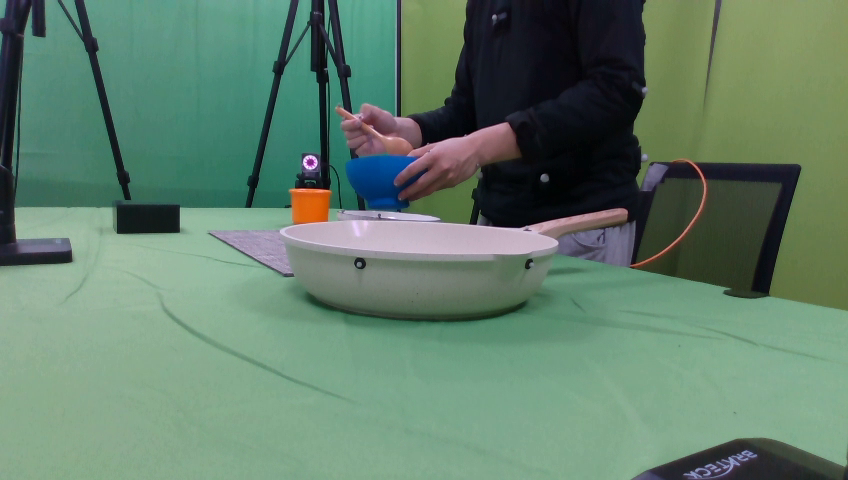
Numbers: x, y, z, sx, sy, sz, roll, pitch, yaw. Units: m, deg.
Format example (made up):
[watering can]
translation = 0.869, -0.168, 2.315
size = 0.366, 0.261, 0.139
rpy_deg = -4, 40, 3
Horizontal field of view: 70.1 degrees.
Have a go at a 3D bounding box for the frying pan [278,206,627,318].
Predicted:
[frying pan]
translation = 0.079, 0.002, 0.705
size = 0.490, 0.102, 0.305
rpy_deg = -12, 15, -33

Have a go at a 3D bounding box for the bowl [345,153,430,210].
[bowl]
translation = -0.065, -0.096, 1.053
size = 0.151, 0.076, 0.151
rpy_deg = 1, -5, 0

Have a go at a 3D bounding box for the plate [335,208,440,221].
[plate]
translation = -0.073, -0.035, 1.196
size = 0.208, 0.039, 0.207
rpy_deg = 4, 6, 0

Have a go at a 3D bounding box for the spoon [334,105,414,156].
[spoon]
translation = -0.094, -0.197, 1.093
size = 0.193, 0.041, 0.022
rpy_deg = 35, 18, 27
